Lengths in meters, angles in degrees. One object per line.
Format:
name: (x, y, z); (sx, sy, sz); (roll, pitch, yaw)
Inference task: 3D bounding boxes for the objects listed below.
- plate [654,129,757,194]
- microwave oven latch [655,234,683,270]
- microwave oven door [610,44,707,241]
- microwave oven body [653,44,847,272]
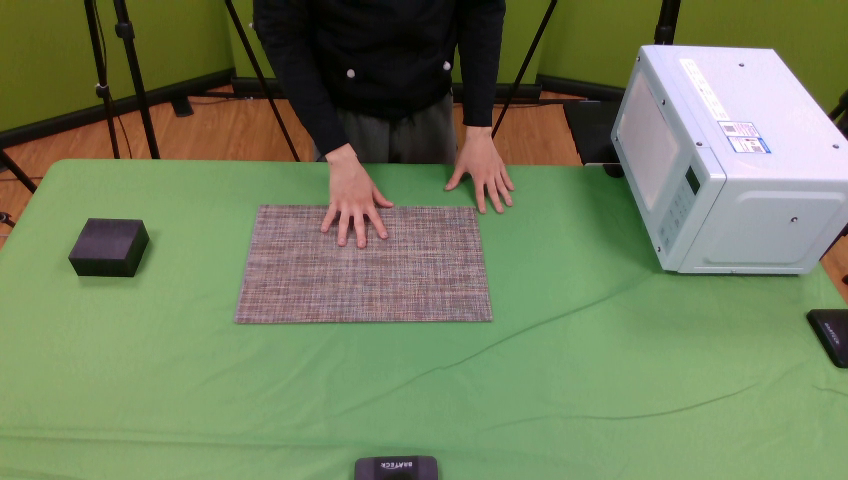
plate: (0.600, -0.165, 1.305); (0.209, 0.038, 0.208); (1, 46, 0)
microwave oven latch: (0.473, 0.021, 1.175); (0.030, 0.029, 0.078); (2, 46, -1)
microwave oven door: (0.474, -0.208, 1.250); (0.039, 0.245, 0.353); (0, 47, -3)
microwave oven body: (0.620, -0.172, 1.234); (0.326, 0.261, 0.439); (0, 46, -3)
